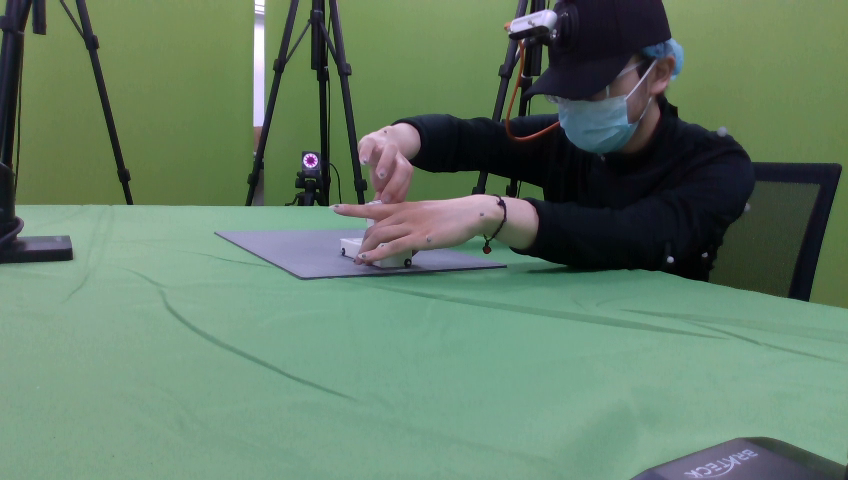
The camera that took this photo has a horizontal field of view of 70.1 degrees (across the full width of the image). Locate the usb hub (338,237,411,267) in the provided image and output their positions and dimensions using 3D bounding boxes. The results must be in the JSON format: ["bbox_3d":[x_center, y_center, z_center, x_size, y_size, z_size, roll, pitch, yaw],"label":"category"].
[{"bbox_3d":[-0.071,0.015,0.832,0.050,0.025,0.124,-3,8,-34],"label":"usb hub"}]

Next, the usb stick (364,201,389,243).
[{"bbox_3d":[-0.066,-0.024,0.836,0.027,0.059,0.021,-8,7,-32],"label":"usb stick"}]
